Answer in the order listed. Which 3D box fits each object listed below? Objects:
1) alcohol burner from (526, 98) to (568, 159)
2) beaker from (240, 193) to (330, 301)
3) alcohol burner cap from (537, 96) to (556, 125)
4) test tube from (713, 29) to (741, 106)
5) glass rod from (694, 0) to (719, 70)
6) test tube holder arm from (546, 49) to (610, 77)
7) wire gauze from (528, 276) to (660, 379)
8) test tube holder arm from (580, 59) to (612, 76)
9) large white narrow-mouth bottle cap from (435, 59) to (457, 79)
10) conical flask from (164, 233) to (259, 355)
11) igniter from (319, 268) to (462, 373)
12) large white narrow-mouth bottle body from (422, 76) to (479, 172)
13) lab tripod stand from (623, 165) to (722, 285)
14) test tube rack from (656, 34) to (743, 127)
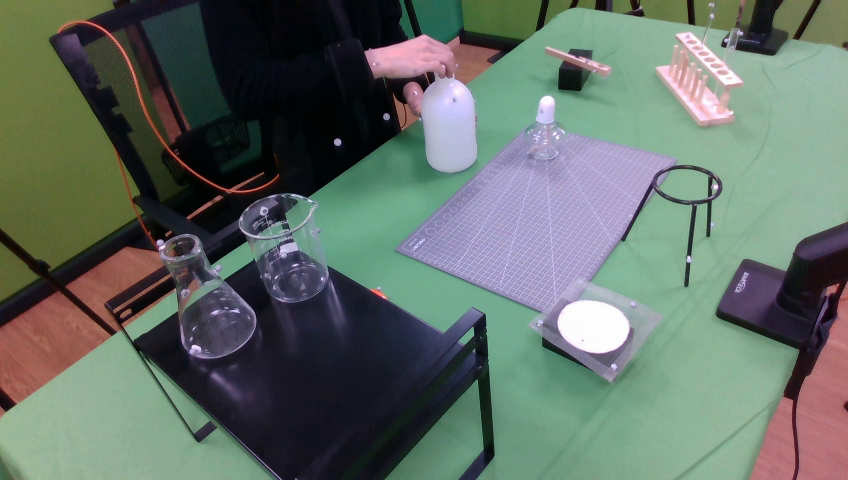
[{"bbox_3d":[0.228,-0.210,1.118,0.078,0.119,0.077,-5,43,5],"label":"alcohol burner"},{"bbox_3d":[-0.144,0.009,0.656,0.084,0.101,0.073,-25,43,-19],"label":"beaker"},{"bbox_3d":[0.223,-0.237,1.095,0.034,0.048,0.033,-1,42,1],"label":"alcohol burner cap"},{"bbox_3d":[0.572,-0.324,1.146,0.017,0.151,0.017,-3,40,3],"label":"test tube"},{"bbox_3d":[0.560,-0.401,1.214,0.008,0.200,0.008,-1,48,2],"label":"glass rod"},{"bbox_3d":[0.332,-0.387,1.315,0.013,0.015,0.177,-26,43,-27],"label":"test tube holder arm"},{"bbox_3d":[0.213,0.103,0.763,0.124,0.011,0.122,30,52,35],"label":"wire gauze"},{"bbox_3d":[0.363,-0.369,1.288,0.010,0.015,0.087,-28,43,-28],"label":"test tube holder arm"},{"bbox_3d":[0.038,-0.297,1.051,0.038,0.024,0.037,-4,40,4],"label":"large white narrow-mouth bottle cap"},{"bbox_3d":[-0.216,0.051,0.601,0.075,0.122,0.075,-4,40,4],"label":"conical flask"},{"bbox_3d":[-0.059,0.107,0.862,0.274,0.025,0.057,28,62,34],"label":"igniter"},{"bbox_3d":[0.047,-0.229,1.111,0.102,0.195,0.101,-4,41,4],"label":"large white narrow-mouth bottle body"},{"bbox_3d":[0.365,-0.030,0.875,0.148,0.132,0.147,-6,41,6],"label":"lab tripod stand"},{"bbox_3d":[0.553,-0.331,1.233,0.067,0.085,0.241,-7,40,2],"label":"test tube rack"}]
